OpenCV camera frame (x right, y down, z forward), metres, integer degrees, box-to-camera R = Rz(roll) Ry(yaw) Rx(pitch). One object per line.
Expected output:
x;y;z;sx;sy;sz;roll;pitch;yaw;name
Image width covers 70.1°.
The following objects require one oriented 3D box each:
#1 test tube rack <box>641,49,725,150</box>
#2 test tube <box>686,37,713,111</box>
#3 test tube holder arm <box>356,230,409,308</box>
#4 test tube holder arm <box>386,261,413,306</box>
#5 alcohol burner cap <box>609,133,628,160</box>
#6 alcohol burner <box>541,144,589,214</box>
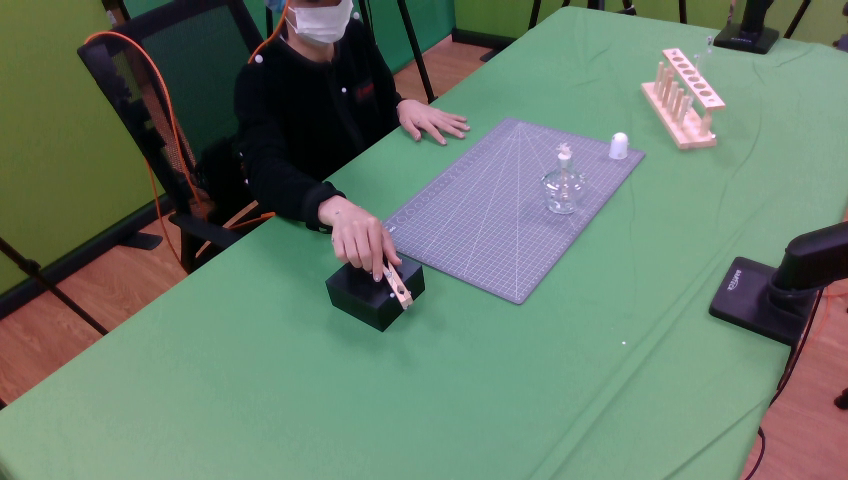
0.495;-0.279;1.175;0.067;0.085;0.241;-5;41;3;test tube rack
0.509;-0.306;1.129;0.017;0.151;0.017;-1;45;2;test tube
-0.062;0.037;0.867;0.013;0.015;0.177;-21;42;-19;test tube holder arm
-0.037;0.059;0.837;0.010;0.015;0.087;-19;41;-17;test tube holder arm
0.356;-0.172;1.101;0.034;0.048;0.033;-5;40;5;alcohol burner cap
0.229;-0.102;0.983;0.078;0.119;0.077;-6;41;5;alcohol burner
